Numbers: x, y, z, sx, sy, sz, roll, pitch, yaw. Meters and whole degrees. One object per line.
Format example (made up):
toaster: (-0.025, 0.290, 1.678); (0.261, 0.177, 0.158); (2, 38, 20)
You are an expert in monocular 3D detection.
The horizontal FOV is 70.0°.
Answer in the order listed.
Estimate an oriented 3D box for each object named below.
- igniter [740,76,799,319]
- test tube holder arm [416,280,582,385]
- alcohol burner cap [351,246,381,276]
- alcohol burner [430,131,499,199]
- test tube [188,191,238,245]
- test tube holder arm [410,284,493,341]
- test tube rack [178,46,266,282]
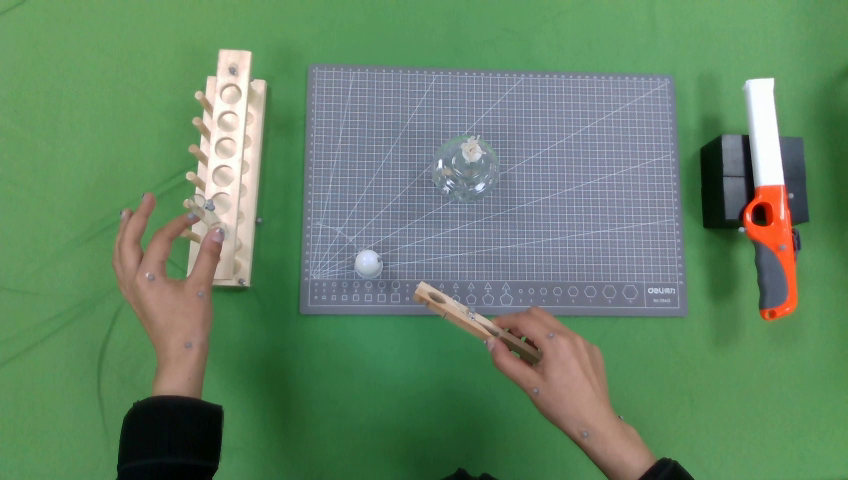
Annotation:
igniter: (0.384, -0.050, 0.681); (0.057, 0.025, 0.275); (-1, 81, 8)
test tube holder arm: (0.069, 0.087, 0.573); (0.178, 0.015, 0.013); (29, 57, 4)
alcohol burner cap: (-0.065, 0.021, 0.675); (0.034, 0.048, 0.033); (1, 81, -5)
alcohol burner: (0.046, -0.086, 0.663); (0.078, 0.119, 0.077); (0, 82, -3)
test tube: (-0.207, -0.018, 0.602); (0.017, 0.150, 0.017); (1, 75, -5)
test tube holder arm: (0.027, 0.069, 0.574); (0.087, 0.015, 0.010); (29, 57, 5)
test tube rack: (-0.224, -0.079, 0.660); (0.067, 0.085, 0.241); (3, 81, -3)
